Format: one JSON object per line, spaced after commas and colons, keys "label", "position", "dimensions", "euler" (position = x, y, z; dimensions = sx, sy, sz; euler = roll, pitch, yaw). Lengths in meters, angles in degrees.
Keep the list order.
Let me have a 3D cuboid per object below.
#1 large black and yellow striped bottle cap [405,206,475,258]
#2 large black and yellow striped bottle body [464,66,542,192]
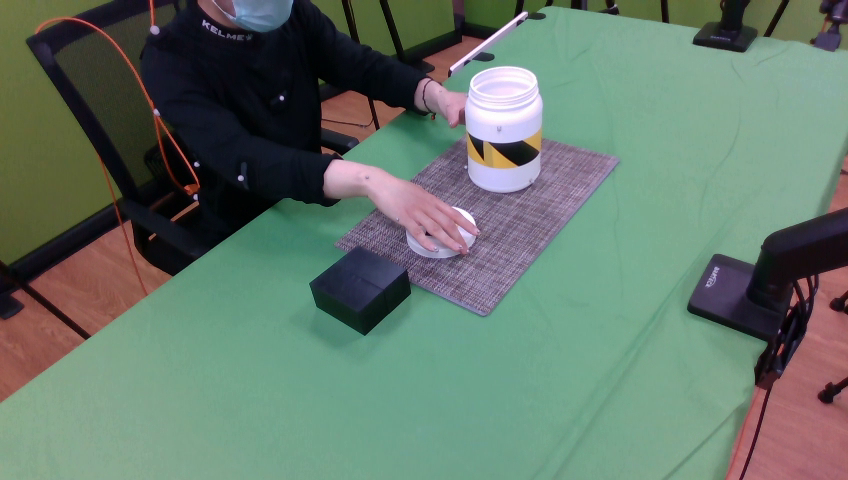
{"label": "large black and yellow striped bottle cap", "position": [0.026, -0.015, 0.981], "dimensions": [0.115, 0.019, 0.114], "euler": [-2, 42, 2]}
{"label": "large black and yellow striped bottle body", "position": [0.137, -0.190, 1.040], "dimensions": [0.131, 0.185, 0.130], "euler": [-4, 41, 4]}
